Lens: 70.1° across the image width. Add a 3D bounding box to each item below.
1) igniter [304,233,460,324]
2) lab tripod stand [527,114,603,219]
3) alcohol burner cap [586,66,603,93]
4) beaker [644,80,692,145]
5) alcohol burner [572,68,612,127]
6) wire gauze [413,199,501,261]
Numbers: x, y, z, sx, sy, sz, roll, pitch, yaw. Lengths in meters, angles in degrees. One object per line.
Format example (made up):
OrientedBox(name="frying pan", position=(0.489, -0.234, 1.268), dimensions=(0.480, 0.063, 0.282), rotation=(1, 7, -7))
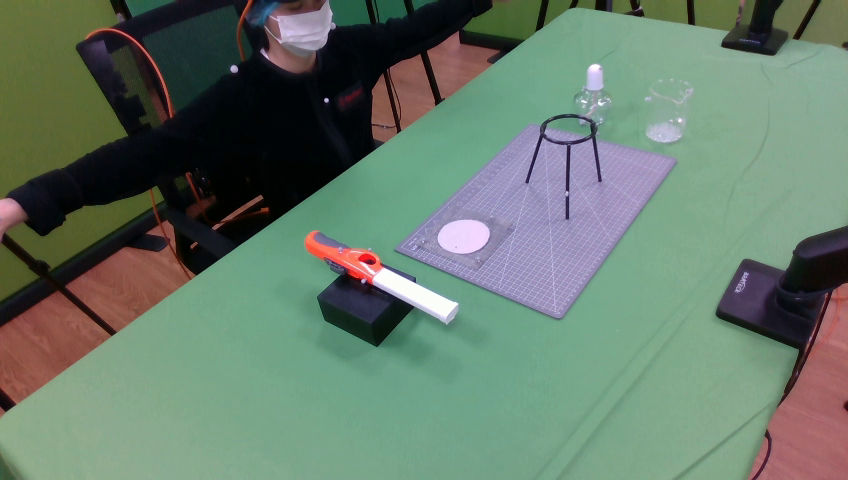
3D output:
OrientedBox(name="igniter", position=(-0.070, 0.048, 0.853), dimensions=(0.274, 0.025, 0.057), rotation=(24, 47, 29))
OrientedBox(name="lab tripod stand", position=(0.234, -0.129, 1.002), dimensions=(0.148, 0.132, 0.147), rotation=(-6, 40, 6))
OrientedBox(name="alcohol burner cap", position=(0.330, -0.312, 1.170), dimensions=(0.034, 0.048, 0.033), rotation=(-8, 38, 7))
OrientedBox(name="beaker", position=(0.451, -0.233, 1.122), dimensions=(0.074, 0.101, 0.083), rotation=(-8, 40, 1))
OrientedBox(name="alcohol burner", position=(0.333, -0.285, 1.192), dimensions=(0.078, 0.119, 0.077), rotation=(-4, 42, 4))
OrientedBox(name="wire gauze", position=(0.054, -0.016, 0.970), dimensions=(0.121, 0.011, 0.125), rotation=(7, 48, 14))
